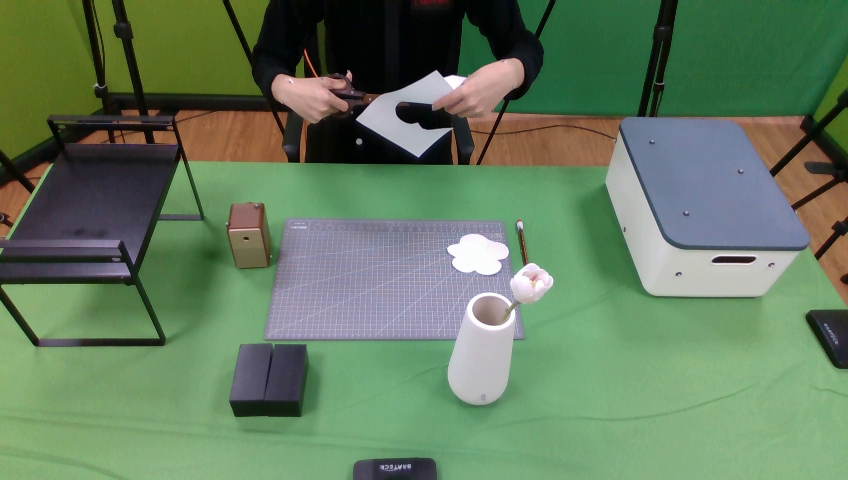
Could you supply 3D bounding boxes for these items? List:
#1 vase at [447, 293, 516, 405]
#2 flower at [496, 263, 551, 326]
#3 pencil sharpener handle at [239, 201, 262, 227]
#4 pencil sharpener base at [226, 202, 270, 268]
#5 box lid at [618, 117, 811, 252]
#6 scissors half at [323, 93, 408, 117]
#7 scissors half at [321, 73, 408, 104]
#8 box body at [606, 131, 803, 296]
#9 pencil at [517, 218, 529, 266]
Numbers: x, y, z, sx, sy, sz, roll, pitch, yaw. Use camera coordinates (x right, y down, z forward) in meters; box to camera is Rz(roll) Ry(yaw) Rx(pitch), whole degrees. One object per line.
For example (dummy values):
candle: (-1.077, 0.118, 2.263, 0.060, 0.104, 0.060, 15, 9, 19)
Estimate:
vase: (0.091, 0.169, 0.921, 0.098, 0.201, 0.097, 3, 47, -3)
flower: (0.102, 0.120, 0.853, 0.044, 0.363, 0.038, -2, 64, -10)
pencil sharpener handle: (-0.325, -0.055, 1.150, 0.036, 0.068, 0.030, -13, 46, 3)
pencil sharpener base: (-0.323, -0.010, 1.123, 0.061, 0.107, 0.076, -3, 46, -7)
box lid: (0.534, -0.117, 1.149, 0.263, 0.015, 0.369, 0, 47, -3)
scissors half: (-0.108, -0.251, 1.109, 0.175, 0.040, 0.013, -2, 24, 25)
scissors half: (-0.109, -0.270, 1.099, 0.175, 0.040, 0.013, 19, 36, 13)
box body: (0.530, -0.067, 1.204, 0.254, 0.161, 0.361, 1, 46, -4)
pencil: (0.200, 0.027, 1.196, 0.012, 0.012, 0.193, 1, 48, -3)
